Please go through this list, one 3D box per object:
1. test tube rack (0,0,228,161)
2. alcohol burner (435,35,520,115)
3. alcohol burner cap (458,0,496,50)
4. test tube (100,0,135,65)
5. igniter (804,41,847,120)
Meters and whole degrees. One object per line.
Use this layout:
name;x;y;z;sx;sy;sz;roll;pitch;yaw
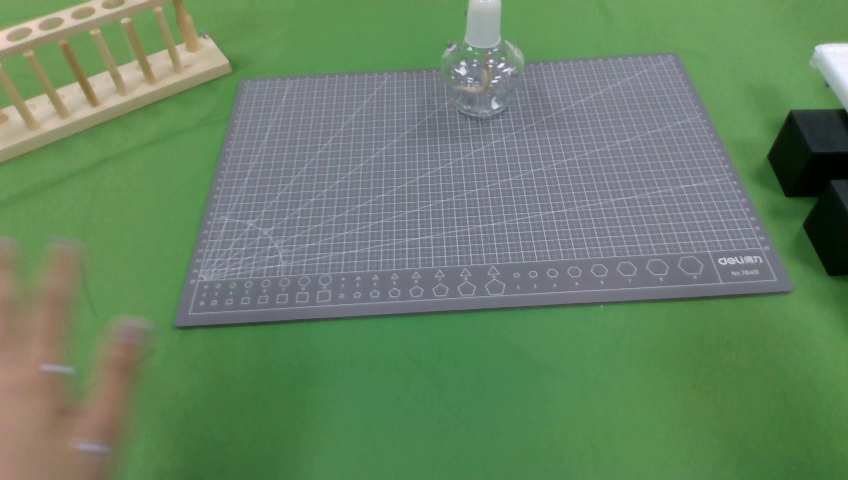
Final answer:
test tube rack;-0.327;-0.170;0.587;0.242;0.086;0.066;-28;55;-19
alcohol burner;0.049;-0.172;0.545;0.078;0.120;0.077;-1;52;1
alcohol burner cap;0.047;-0.193;0.522;0.034;0.048;0.033;0;50;0
test tube;-0.302;-0.234;0.574;0.017;0.151;0.017;-1;48;2
igniter;0.341;-0.062;0.437;0.057;0.025;0.274;-2;49;6
